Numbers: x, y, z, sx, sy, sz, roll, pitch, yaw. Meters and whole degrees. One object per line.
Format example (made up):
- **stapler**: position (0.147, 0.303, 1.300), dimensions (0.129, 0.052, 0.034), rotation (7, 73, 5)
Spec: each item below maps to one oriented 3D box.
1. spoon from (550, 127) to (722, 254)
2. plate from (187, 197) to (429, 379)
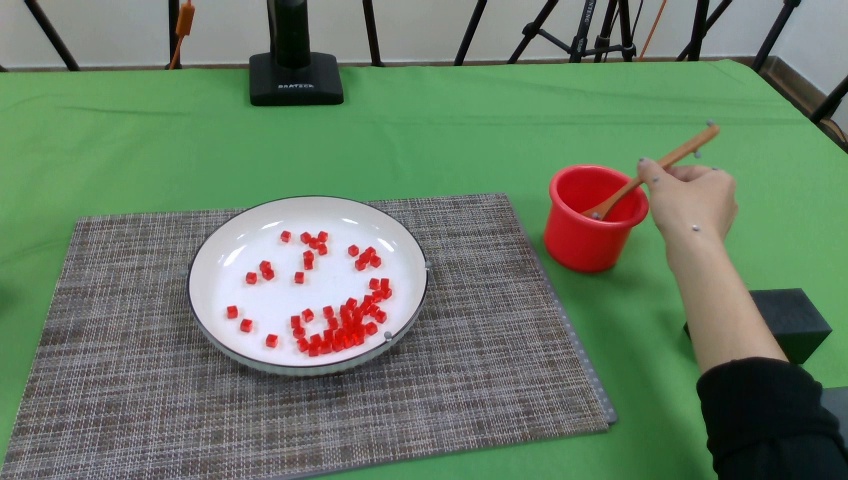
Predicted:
- **spoon**: position (0.206, -0.047, 0.600), dimensions (0.022, 0.194, 0.041), rotation (32, 29, -35)
- **plate**: position (-0.101, 0.040, 0.546), dimensions (0.208, 0.039, 0.205), rotation (4, 43, -4)
